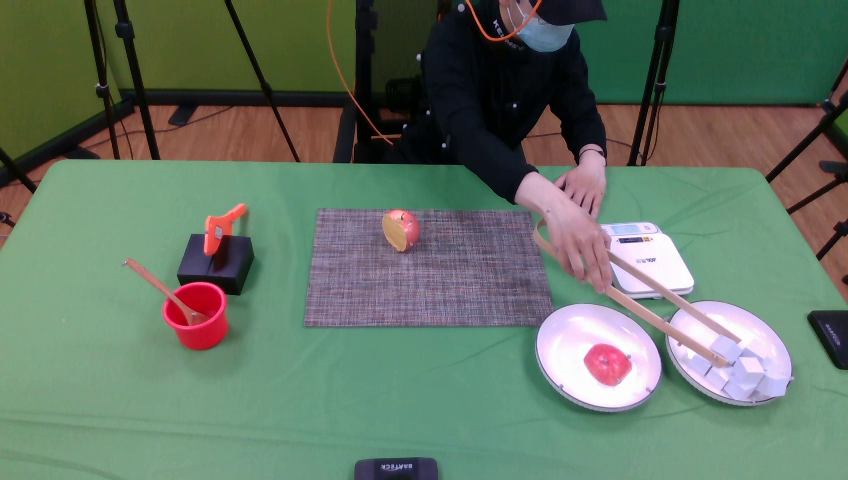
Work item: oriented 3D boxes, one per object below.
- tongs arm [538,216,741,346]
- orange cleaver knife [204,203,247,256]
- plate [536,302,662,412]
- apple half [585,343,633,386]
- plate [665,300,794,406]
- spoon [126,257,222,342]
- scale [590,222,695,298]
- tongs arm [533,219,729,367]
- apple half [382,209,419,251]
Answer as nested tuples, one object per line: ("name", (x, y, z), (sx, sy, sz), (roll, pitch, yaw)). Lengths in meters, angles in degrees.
("tongs arm", (0.367, 0.065, 1.055), (0.386, 0.028, 0.028), (35, 67, 17))
("orange cleaver knife", (-0.374, -0.024, 1.146), (0.012, 0.077, 0.211), (4, 14, 1))
("plate", (0.288, 0.197, 1.016), (0.209, 0.038, 0.208), (2, 46, -2))
("apple half", (0.309, 0.198, 1.008), (0.081, 0.033, 0.081), (4, 48, -4))
("plate", (0.514, 0.194, 1.033), (0.208, 0.039, 0.206), (2, 46, -2))
("spoon", (-0.408, 0.096, 0.990), (0.194, 0.021, 0.041), (50, 54, -18))
("scale", (0.424, 0.031, 1.189), (0.149, 0.032, 0.199), (-3, 46, -7))
("tongs arm", (0.347, 0.085, 1.042), (0.383, 0.026, 0.050), (33, 63, 16))
("apple half", (-0.039, -0.022, 1.175), (0.053, 0.075, 0.080), (-27, 49, -31))
